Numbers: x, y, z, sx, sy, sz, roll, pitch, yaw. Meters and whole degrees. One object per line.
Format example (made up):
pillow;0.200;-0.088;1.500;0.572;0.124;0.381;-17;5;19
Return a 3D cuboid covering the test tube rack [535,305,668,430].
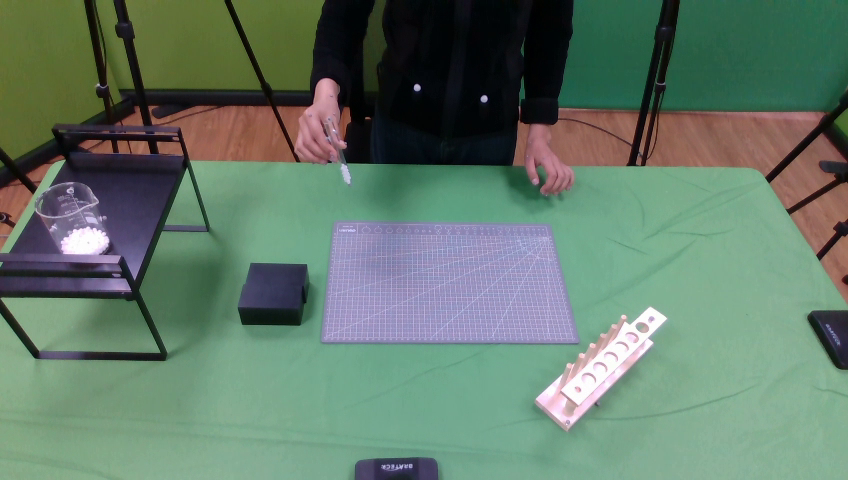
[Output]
test tube rack;0.290;0.193;0.984;0.242;0.085;0.066;-32;56;-30

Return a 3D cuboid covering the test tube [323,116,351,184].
test tube;-0.148;-0.151;1.045;0.017;0.151;0.017;-5;52;6

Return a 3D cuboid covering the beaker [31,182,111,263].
beaker;-0.502;-0.022;0.877;0.084;0.101;0.073;-2;47;-7
